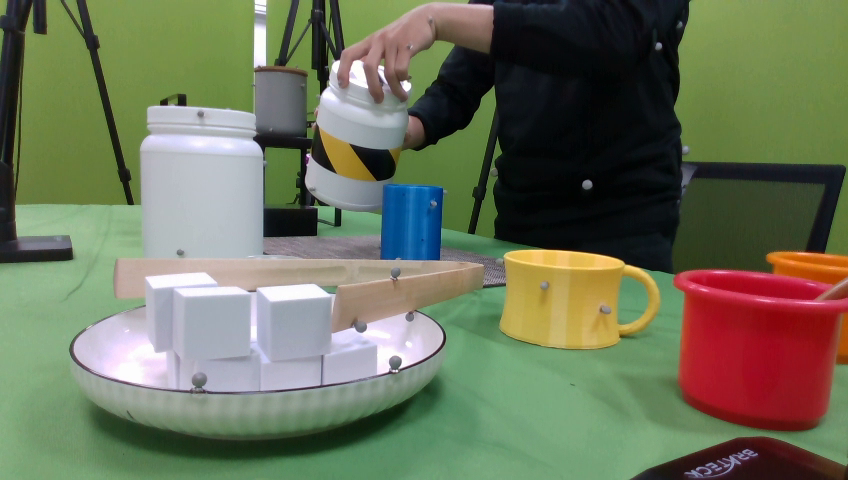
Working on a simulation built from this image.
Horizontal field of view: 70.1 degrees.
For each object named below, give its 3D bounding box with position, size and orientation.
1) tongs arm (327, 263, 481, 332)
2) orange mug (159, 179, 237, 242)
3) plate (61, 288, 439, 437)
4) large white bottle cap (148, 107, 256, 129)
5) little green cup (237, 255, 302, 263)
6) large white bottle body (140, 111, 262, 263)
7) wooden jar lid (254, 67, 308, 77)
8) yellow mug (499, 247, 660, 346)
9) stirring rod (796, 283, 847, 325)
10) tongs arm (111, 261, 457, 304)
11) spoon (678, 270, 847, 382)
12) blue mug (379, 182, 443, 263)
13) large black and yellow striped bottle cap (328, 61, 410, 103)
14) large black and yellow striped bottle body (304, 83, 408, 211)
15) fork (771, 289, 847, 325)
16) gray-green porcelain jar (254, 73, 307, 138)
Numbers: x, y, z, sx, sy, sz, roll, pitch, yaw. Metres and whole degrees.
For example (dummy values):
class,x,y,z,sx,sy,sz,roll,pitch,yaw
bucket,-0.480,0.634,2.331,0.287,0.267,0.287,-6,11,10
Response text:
class,x,y,z,sx,sy,sz,roll,pitch,yaw
tongs arm,-0.003,0.036,0.493,0.050,0.026,0.386,1,-1,19
orange mug,-0.368,-0.052,0.991,0.127,0.101,0.083,-10,14,-41
plate,-0.095,0.069,0.362,0.208,0.039,0.207,3,7,0
large white bottle cap,-0.250,-0.137,0.686,0.115,0.018,0.115,2,8,0
little green cup,-0.150,0.038,0.590,0.061,0.038,0.061,3,7,0
large white bottle body,-0.254,-0.053,0.697,0.131,0.184,0.130,2,7,0
wooden jar lid,-0.296,-0.339,1.251,0.108,0.020,0.108,2,7,0
yellow mug,0.130,0.045,0.508,0.131,0.064,0.100,4,7,6
stirring rod,0.346,0.019,0.460,0.014,0.176,0.006,-17,59,-26
tongs arm,-0.080,0.032,0.527,0.028,0.027,0.389,-3,-3,33
spoon,0.229,0.031,0.338,0.193,0.021,0.042,-44,-16,27
blue mug,-0.019,-0.026,0.833,0.082,0.106,0.116,1,7,-7
large black and yellow striped bottle cap,-0.077,-0.223,0.851,0.115,0.019,0.115,13,30,-7
large black and yellow striped bottle body,-0.098,-0.151,0.893,0.131,0.184,0.130,14,28,-7
fork,0.335,0.018,0.443,0.028,0.018,0.207,-1,-36,-20
gray-green porcelain jar,-0.298,-0.277,1.259,0.106,0.126,0.106,3,7,0
